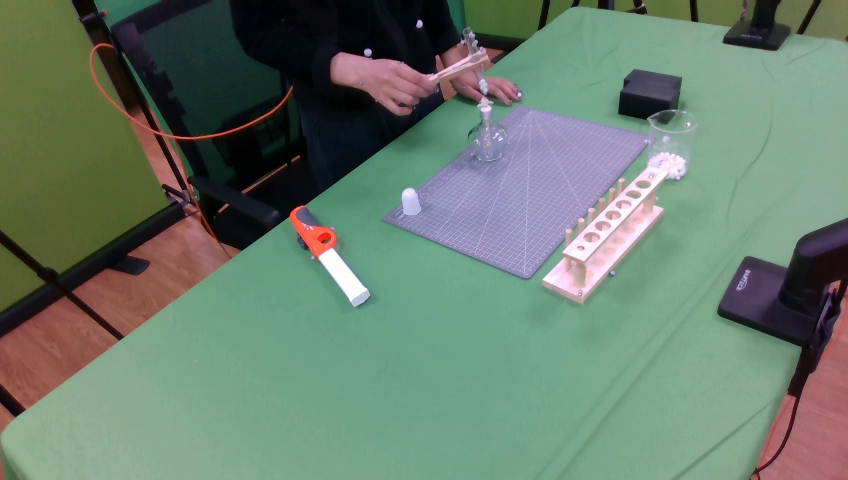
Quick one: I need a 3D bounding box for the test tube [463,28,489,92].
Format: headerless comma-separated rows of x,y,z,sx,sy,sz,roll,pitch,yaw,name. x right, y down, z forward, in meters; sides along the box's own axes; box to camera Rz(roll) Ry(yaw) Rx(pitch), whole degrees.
0.088,-0.298,1.014,0.017,0.151,0.017,-7,64,15,test tube

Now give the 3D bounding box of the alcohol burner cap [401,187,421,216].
-0.025,-0.070,1.048,0.034,0.048,0.033,-5,41,5,alcohol burner cap

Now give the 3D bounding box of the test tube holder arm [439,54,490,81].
0.067,-0.288,1.013,0.087,0.015,0.010,-17,62,14,test tube holder arm

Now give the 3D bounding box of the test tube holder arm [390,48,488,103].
0.024,-0.277,1.024,0.178,0.015,0.013,-24,60,11,test tube holder arm

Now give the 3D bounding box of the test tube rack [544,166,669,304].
0.274,-0.018,0.903,0.066,0.085,0.243,26,51,35,test tube rack

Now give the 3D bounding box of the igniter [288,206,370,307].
-0.163,0.017,0.986,0.057,0.025,0.274,-33,45,-13,igniter

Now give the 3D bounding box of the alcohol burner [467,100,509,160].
0.118,-0.210,1.130,0.078,0.119,0.077,-5,42,5,alcohol burner

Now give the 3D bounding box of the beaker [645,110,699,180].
0.417,-0.160,1.032,0.083,0.101,0.074,25,51,35,beaker
